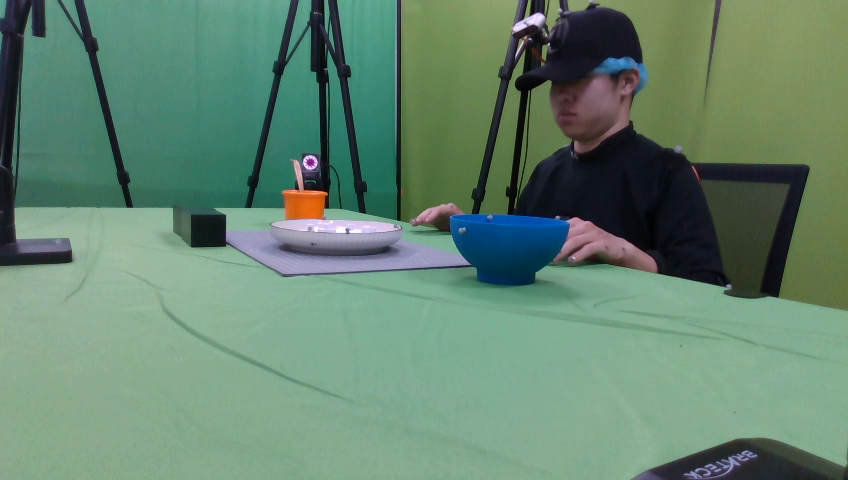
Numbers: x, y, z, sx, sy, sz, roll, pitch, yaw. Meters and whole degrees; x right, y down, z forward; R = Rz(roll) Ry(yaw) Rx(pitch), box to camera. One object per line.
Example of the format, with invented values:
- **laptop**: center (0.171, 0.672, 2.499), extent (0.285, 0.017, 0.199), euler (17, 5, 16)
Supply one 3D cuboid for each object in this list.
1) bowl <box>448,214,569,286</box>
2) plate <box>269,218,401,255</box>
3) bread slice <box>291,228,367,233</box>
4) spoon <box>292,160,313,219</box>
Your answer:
- **bowl**: center (0.102, 0.012, 0.758), extent (0.151, 0.077, 0.151), euler (3, 7, 0)
- **plate**: center (-0.140, -0.006, 0.958), extent (0.209, 0.038, 0.209), euler (3, 7, 0)
- **bread slice**: center (-0.143, -0.003, 0.953), extent (0.135, 0.018, 0.106), euler (-1, 9, -37)
- **spoon**: center (-0.259, -0.103, 1.268), extent (0.042, 0.193, 0.021), euler (3, -38, -23)
